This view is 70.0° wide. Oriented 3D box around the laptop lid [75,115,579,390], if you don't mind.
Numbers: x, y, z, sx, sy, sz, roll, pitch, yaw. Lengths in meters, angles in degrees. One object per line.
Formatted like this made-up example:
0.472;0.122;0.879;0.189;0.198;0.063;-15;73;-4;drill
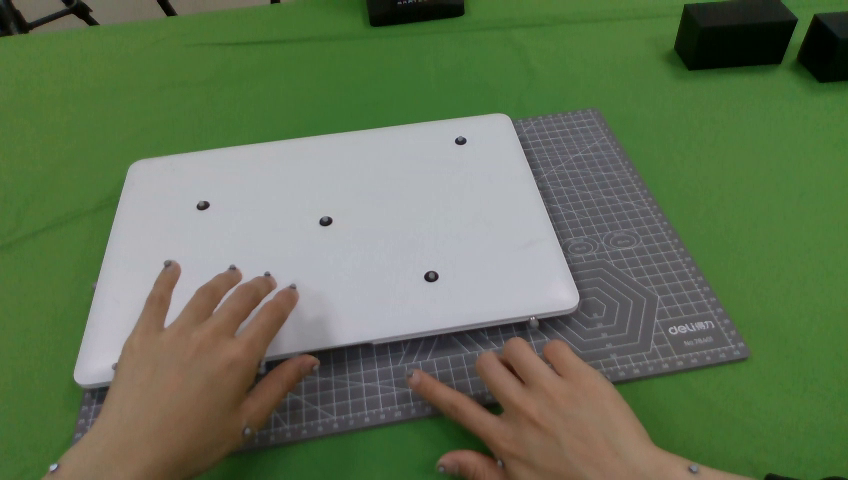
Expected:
-0.078;-0.010;0.488;0.357;0.013;0.239;-7;49;-2;laptop lid

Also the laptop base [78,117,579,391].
-0.077;-0.003;0.498;0.355;0.023;0.233;-8;50;-4;laptop base
